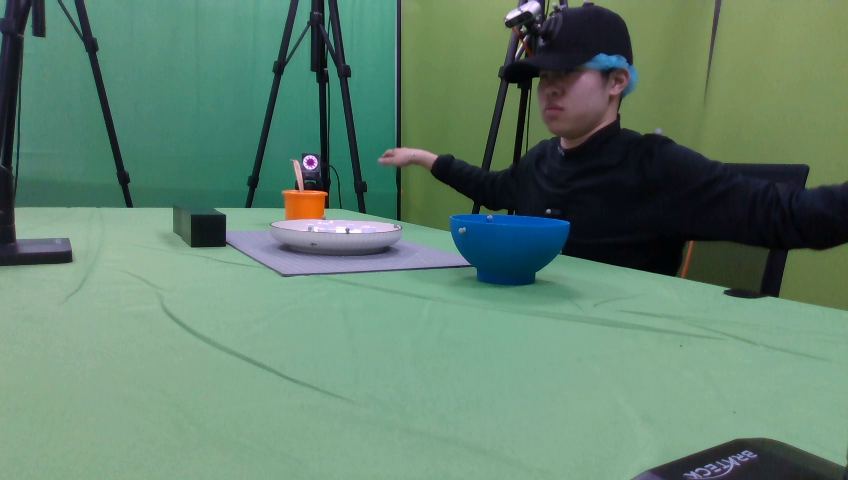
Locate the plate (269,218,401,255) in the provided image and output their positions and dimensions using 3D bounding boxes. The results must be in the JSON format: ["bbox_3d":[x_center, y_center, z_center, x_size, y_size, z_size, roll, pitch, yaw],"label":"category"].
[{"bbox_3d":[-0.140,-0.006,0.958,0.209,0.038,0.209,3,7,0],"label":"plate"}]

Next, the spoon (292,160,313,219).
[{"bbox_3d":[-0.259,-0.103,1.268,0.042,0.193,0.021,3,-38,-23],"label":"spoon"}]

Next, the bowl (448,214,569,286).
[{"bbox_3d":[0.102,0.012,0.758,0.151,0.077,0.151,3,7,0],"label":"bowl"}]

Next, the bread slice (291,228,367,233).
[{"bbox_3d":[-0.143,-0.003,0.953,0.135,0.018,0.106,-1,9,-37],"label":"bread slice"}]
